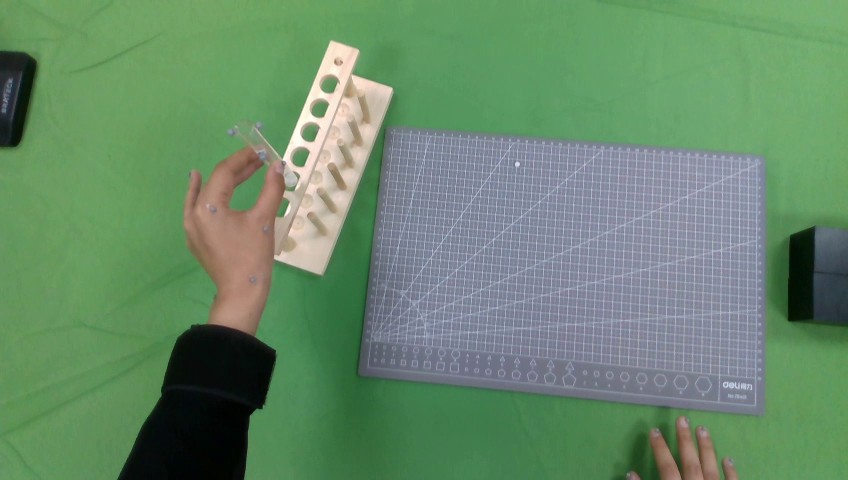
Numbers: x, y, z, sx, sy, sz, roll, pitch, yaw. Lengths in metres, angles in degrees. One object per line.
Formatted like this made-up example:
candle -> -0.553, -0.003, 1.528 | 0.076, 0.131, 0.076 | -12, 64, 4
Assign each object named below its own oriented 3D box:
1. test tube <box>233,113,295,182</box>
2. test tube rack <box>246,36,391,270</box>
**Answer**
test tube -> -0.143, -0.081, 0.559 | 0.017, 0.151, 0.017 | 0, 79, 2
test tube rack -> -0.113, -0.094, 0.683 | 0.066, 0.085, 0.241 | 19, 81, 4
